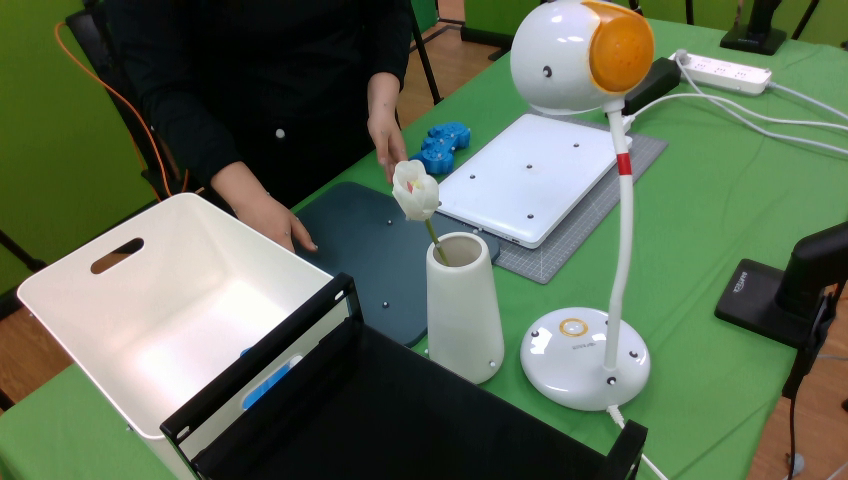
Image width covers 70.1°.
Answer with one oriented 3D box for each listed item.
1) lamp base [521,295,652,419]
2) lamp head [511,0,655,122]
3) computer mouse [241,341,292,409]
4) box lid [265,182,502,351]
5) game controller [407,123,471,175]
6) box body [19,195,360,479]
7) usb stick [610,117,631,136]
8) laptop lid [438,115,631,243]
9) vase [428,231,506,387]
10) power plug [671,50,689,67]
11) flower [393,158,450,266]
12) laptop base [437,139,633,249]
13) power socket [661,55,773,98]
[{"bbox_3d":[0.201,0.095,0.710,0.161,0.181,0.178,-16,43,-10],"label":"lamp base"},{"bbox_3d":[0.155,-0.168,0.563,0.113,0.113,0.122,-18,23,-12],"label":"lamp head"},{"bbox_3d":[-0.201,0.177,0.776,0.063,0.041,0.116,-11,44,-8],"label":"computer mouse"},{"bbox_3d":[-0.087,0.023,0.971,0.368,0.015,0.264,23,49,31],"label":"box lid"},{"bbox_3d":[0.028,-0.181,1.170,0.096,0.052,0.155,15,45,18],"label":"game controller"},{"bbox_3d":[-0.288,0.118,0.772,0.361,0.161,0.255,26,50,33],"label":"box body"},{"bbox_3d":[0.369,-0.208,1.147,0.021,0.027,0.059,26,56,33],"label":"usb stick"},{"bbox_3d":[0.189,-0.126,1.081,0.239,0.013,0.358,23,49,34],"label":"laptop lid"},{"bbox_3d":[0.050,0.087,0.728,0.098,0.201,0.097,-3,40,3],"label":"vase"},{"bbox_3d":[0.540,-0.379,1.302,0.073,0.053,0.035,-30,46,-23],"label":"power plug"},{"bbox_3d":[0.028,0.036,0.664,0.043,0.364,0.038,35,73,29],"label":"flower"},{"bbox_3d":[0.193,-0.117,1.087,0.233,0.023,0.355,20,47,35],"label":"laptop base"},{"bbox_3d":[0.619,-0.353,1.289,0.225,0.033,0.072,26,51,33],"label":"power socket"}]
